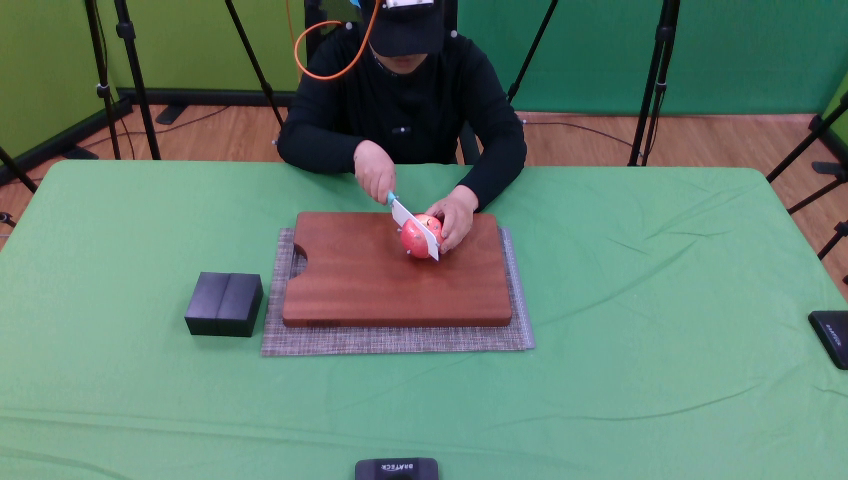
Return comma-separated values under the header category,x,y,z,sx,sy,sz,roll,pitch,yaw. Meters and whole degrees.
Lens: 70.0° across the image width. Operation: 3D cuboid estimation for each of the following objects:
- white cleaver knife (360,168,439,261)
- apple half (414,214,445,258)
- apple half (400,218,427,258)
category,x,y,z,sx,sy,sz,roll,pitch,yaw
white cleaver knife,-0.052,-0.052,1.154,0.021,0.066,0.284,-20,43,-24
apple half,0.010,-0.010,1.134,0.053,0.075,0.080,-18,47,-28
apple half,-0.025,0.004,1.117,0.033,0.081,0.081,-24,52,-23
